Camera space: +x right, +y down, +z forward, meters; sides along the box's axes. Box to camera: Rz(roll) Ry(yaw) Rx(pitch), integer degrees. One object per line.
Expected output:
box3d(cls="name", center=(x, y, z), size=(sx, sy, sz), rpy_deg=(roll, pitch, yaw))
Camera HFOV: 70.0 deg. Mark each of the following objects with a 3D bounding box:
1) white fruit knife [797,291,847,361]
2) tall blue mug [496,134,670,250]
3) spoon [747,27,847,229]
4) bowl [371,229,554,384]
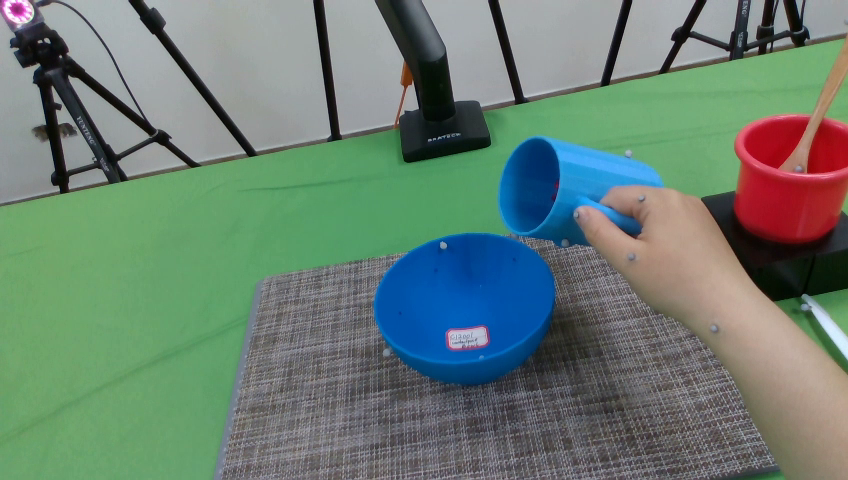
box3d(cls="white fruit knife", center=(0.334, 0.108, 0.447), size=(0.027, 0.016, 0.205), rpy_deg=(11, 35, -13))
box3d(cls="tall blue mug", center=(0.130, -0.036, 0.466), size=(0.109, 0.077, 0.107), rpy_deg=(8, -10, -29))
box3d(cls="spoon", center=(0.328, -0.099, 0.511), size=(0.041, 0.022, 0.194), rpy_deg=(27, 98, 40))
box3d(cls="bowl", center=(0.037, 0.069, 0.517), size=(0.151, 0.077, 0.150), rpy_deg=(-8, 40, 7))
